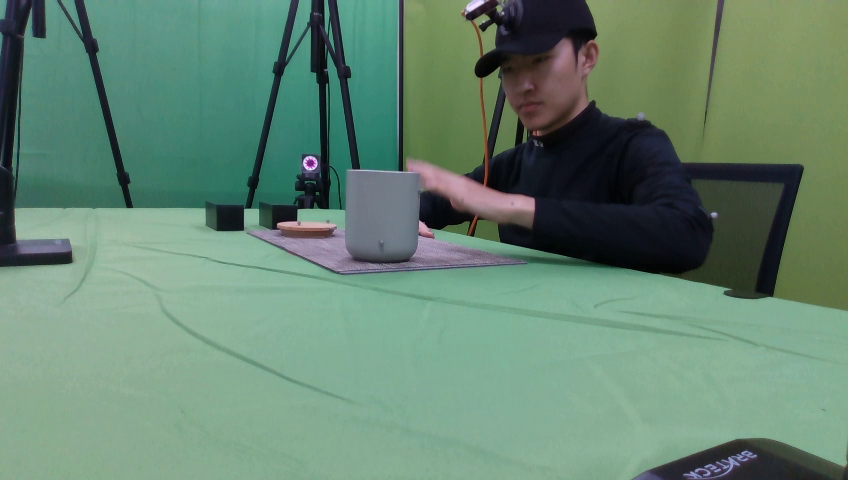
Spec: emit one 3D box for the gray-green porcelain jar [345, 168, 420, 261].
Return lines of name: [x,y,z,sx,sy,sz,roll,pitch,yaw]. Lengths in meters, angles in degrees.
gray-green porcelain jar: [-0.059,-0.037,0.858,0.106,0.126,0.106,2,7,0]

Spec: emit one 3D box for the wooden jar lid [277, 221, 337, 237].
wooden jar lid: [-0.215,-0.021,1.112,0.108,0.020,0.108,3,7,0]
